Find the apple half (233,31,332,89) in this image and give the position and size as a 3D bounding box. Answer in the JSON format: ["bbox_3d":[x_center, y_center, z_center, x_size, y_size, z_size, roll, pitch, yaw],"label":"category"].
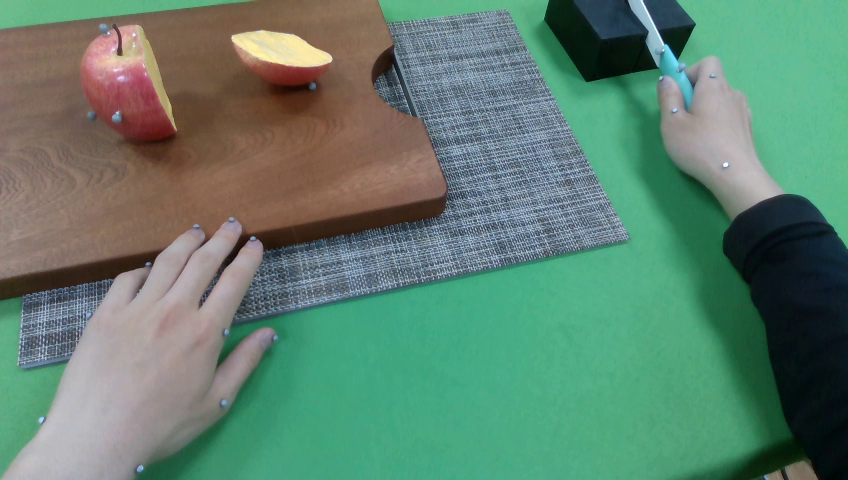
[{"bbox_3d":[-0.122,-0.145,0.506,0.081,0.033,0.080,13,34,-9],"label":"apple half"}]

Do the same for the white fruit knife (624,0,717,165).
[{"bbox_3d":[0.218,-0.165,0.556,0.016,0.027,0.206,-18,75,-10],"label":"white fruit knife"}]

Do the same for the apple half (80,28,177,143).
[{"bbox_3d":[-0.225,-0.111,0.456,0.053,0.075,0.080,-20,64,-12],"label":"apple half"}]
